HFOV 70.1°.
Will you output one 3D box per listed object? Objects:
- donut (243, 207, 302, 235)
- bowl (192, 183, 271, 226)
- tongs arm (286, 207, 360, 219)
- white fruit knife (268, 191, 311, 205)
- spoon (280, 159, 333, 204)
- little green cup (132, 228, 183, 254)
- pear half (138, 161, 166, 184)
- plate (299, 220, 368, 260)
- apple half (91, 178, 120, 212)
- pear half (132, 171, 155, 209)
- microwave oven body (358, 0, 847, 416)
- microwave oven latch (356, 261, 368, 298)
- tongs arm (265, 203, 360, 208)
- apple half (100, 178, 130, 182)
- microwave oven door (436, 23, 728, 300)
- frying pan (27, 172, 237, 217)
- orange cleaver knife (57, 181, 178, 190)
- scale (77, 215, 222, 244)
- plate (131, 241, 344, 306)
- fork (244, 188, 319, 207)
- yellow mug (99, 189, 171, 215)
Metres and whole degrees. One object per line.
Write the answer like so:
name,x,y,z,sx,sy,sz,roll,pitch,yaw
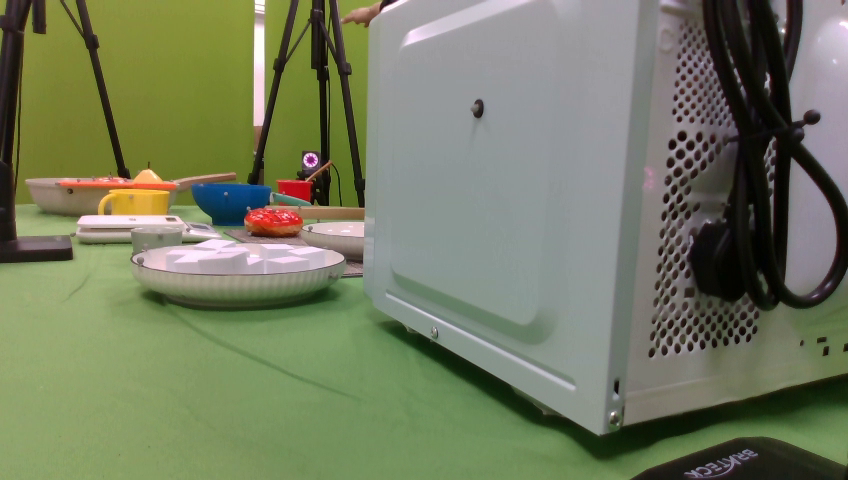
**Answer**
donut,-0.261,-0.032,1.043,0.099,0.048,0.099,4,9,0
bowl,-0.382,-0.071,1.202,0.151,0.077,0.151,3,7,0
tongs arm,-0.173,-0.061,1.362,0.387,0.026,0.050,-1,4,-31
white fruit knife,-0.364,-0.105,1.464,0.208,0.027,0.016,15,-2,-34
spoon,-0.316,-0.159,1.640,0.194,0.022,0.041,-50,32,-20
little green cup,-0.342,0.006,0.779,0.061,0.038,0.061,2,8,0
pear half,-0.602,-0.120,1.354,0.056,0.110,0.076,4,11,6
plate,-0.078,-0.001,0.890,0.209,0.038,0.209,3,8,0
apple half,-0.677,-0.096,1.271,0.033,0.081,0.081,7,8,10
pear half,-0.636,-0.113,1.362,0.031,0.088,0.070,3,13,1
microwave oven body,0.211,-0.047,0.475,0.444,0.260,0.324,-1,7,-28
microwave oven latch,-0.019,0.033,0.530,0.079,0.029,0.030,0,7,-26
tongs arm,-0.210,-0.070,1.439,0.389,0.027,0.028,1,0,-17
apple half,-0.638,-0.093,1.265,0.053,0.074,0.081,7,5,10
microwave oven door,0.180,-0.072,0.621,0.358,0.243,0.039,-2,9,-29
frying pan,-0.624,-0.118,1.387,0.305,0.102,0.490,8,17,32
orange cleaver knife,-0.600,-0.109,1.189,0.212,0.012,0.077,-1,11,-26
scale,-0.434,-0.019,0.963,0.202,0.031,0.148,-1,9,-27
plate,-0.187,0.033,0.625,0.208,0.039,0.207,2,8,0
fork,-0.356,-0.105,1.526,0.208,0.018,0.028,16,-5,-41
yellow mug,-0.519,-0.055,1.080,0.099,0.064,0.131,7,10,26
